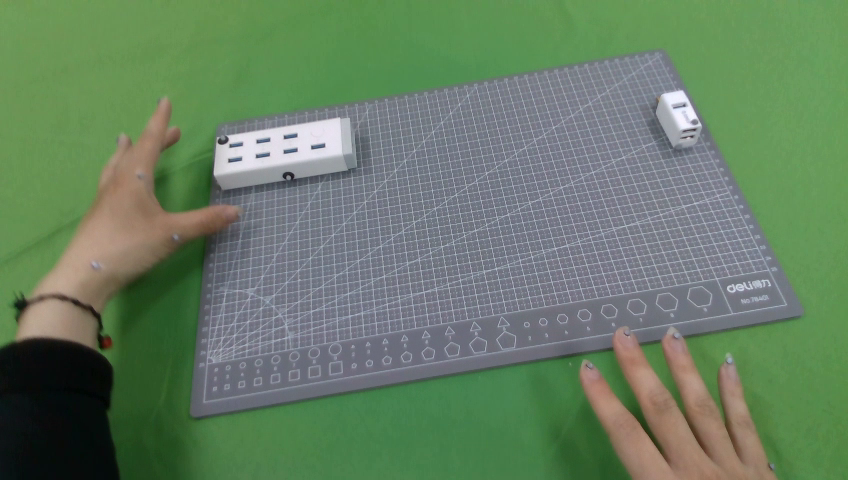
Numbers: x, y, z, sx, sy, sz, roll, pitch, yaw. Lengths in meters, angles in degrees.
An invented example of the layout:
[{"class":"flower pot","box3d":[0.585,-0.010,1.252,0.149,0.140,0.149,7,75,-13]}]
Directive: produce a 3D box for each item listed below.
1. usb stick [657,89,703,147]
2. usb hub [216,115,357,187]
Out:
[{"class":"usb stick","box3d":[0.222,-0.112,0.532,0.021,0.027,0.058,-11,54,2]},{"class":"usb hub","box3d":[-0.126,-0.083,0.556,0.125,0.025,0.049,-8,57,1]}]
